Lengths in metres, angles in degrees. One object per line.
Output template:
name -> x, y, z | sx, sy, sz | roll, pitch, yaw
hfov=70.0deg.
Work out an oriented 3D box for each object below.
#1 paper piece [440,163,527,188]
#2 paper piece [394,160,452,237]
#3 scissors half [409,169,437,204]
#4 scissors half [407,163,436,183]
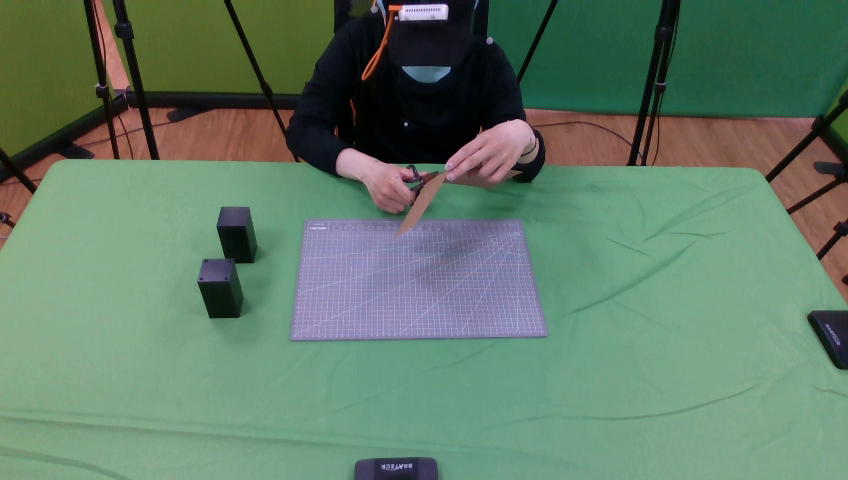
paper piece -> 0.099, -0.120, 1.126 | 0.138, 0.136, 0.008 | 5, 84, -19
paper piece -> -0.005, -0.071, 1.076 | 0.004, 0.135, 0.135 | 34, 72, -9
scissors half -> -0.002, -0.107, 1.178 | 0.013, 0.175, 0.040 | -4, 75, -18
scissors half -> -0.004, -0.128, 1.179 | 0.013, 0.040, 0.174 | -10, 12, -18
